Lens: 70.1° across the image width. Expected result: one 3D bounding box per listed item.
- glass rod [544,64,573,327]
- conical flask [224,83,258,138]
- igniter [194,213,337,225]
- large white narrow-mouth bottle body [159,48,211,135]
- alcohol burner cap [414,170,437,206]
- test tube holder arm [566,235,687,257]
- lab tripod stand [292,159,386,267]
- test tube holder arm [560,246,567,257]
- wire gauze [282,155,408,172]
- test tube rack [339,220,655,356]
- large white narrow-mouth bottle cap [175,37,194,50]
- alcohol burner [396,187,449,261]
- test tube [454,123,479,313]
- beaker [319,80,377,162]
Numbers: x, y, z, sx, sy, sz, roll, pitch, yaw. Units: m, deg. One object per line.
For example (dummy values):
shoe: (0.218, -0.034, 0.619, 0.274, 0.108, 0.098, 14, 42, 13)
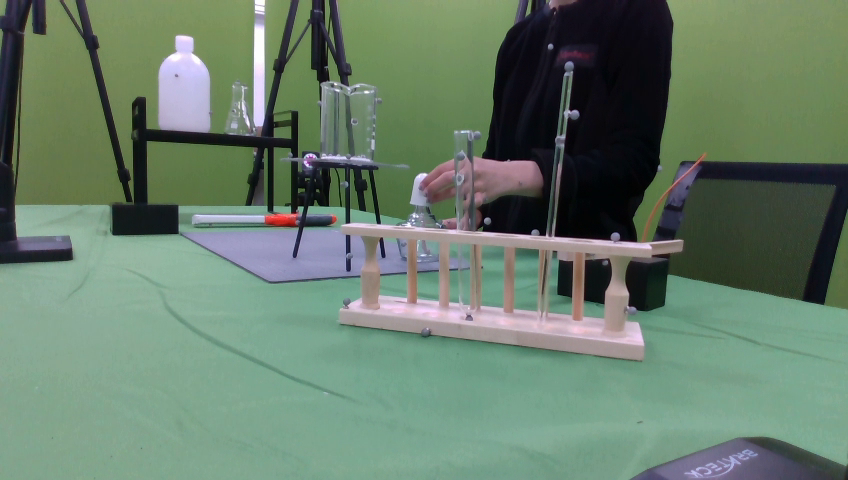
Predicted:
glass rod: (0.101, -0.028, 0.453, 0.008, 0.199, 0.008, 2, 13, 0)
conical flask: (-0.422, -0.299, 1.395, 0.075, 0.122, 0.075, 2, 7, 0)
igniter: (-0.306, -0.042, 1.196, 0.278, 0.025, 0.057, -2, -2, -31)
large white narrow-mouth bottle body: (-0.503, -0.323, 1.275, 0.102, 0.194, 0.102, 2, 7, 0)
alcohol burner cap: (0.001, -0.074, 0.842, 0.034, 0.048, 0.034, 0, 17, 0)
test tube holder arm: (0.215, 0.006, 0.630, 0.179, 0.015, 0.013, -3, 9, -31)
lab tripod stand: (-0.105, -0.039, 0.797, 0.148, 0.131, 0.148, 2, 5, 0)
test tube holder arm: (0.173, 0.007, 0.611, 0.088, 0.015, 0.010, -3, 9, -30)
wire gauze: (-0.104, -0.103, 0.785, 0.126, 0.011, 0.121, 1, 8, -39)
test tube rack: (0.056, 0.032, 0.495, 0.242, 0.085, 0.067, 4, 7, 15)
large white narrow-mouth bottle cap: (-0.501, -0.409, 1.264, 0.038, 0.024, 0.037, 2, 7, 0)
alcohol burner: (-0.003, -0.032, 0.846, 0.078, 0.119, 0.078, 0, 6, 0)
test tube: (0.034, -0.016, 0.477, 0.017, 0.150, 0.017, -2, 9, 1)
beaker: (-0.098, -0.150, 0.777, 0.074, 0.100, 0.084, 1, 7, -7)
